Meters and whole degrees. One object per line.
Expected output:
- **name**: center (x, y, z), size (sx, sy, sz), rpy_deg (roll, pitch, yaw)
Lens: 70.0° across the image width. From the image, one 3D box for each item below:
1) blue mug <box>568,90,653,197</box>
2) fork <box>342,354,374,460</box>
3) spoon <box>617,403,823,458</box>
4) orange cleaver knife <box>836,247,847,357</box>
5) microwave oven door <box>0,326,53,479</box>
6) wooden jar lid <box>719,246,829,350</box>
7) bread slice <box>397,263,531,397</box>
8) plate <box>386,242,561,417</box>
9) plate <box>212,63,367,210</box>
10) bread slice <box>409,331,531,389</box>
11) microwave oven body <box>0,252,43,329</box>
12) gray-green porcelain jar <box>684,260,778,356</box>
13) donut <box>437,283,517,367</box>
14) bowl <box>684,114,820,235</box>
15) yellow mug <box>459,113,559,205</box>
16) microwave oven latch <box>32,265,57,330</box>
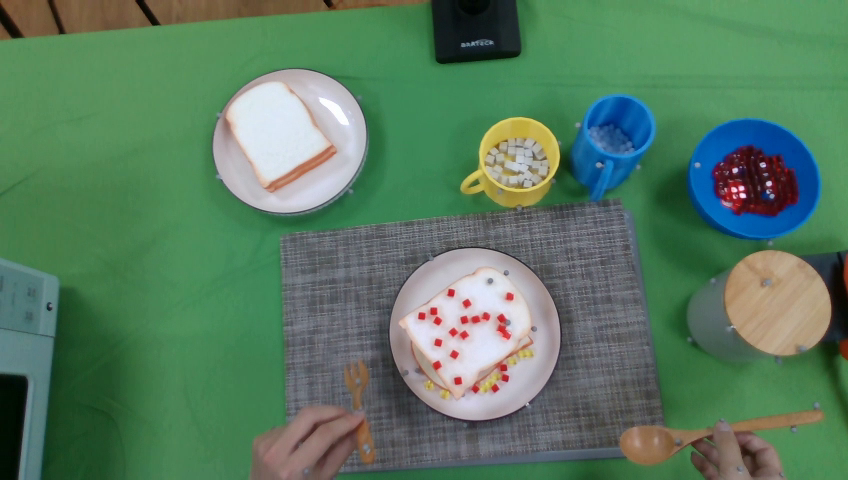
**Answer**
- **blue mug**: center (0.224, -0.109, 0.749), size (0.082, 0.106, 0.116), rpy_deg (15, 77, 8)
- **fork**: center (-0.066, 0.162, 0.610), size (0.028, 0.206, 0.019), rpy_deg (-27, 103, -4)
- **spoon**: center (0.292, 0.186, 0.605), size (0.193, 0.022, 0.041), rpy_deg (-17, 44, 18)
- **orange cleaver knife**: center (0.494, 0.115, 0.689), size (0.012, 0.077, 0.212), rpy_deg (-6, 102, 2)
- **microwave oven door**: center (-0.481, 0.258, 0.607), size (0.039, 0.245, 0.354), rpy_deg (-4, 75, 3)
- **wooden jar lid**: center (0.357, 0.060, 0.623), size (0.108, 0.021, 0.108), rpy_deg (0, 78, 1)
- **bread slice**: center (0.051, 0.090, 0.679), size (0.134, 0.018, 0.106), rpy_deg (-39, 82, -12)
- **plate**: center (0.059, 0.107, 0.735), size (0.209, 0.038, 0.208), rpy_deg (-1, 76, 3)
- **plate**: center (-0.177, -0.136, 0.813), size (0.207, 0.039, 0.206), rpy_deg (-1, 76, 3)
- **bread slice**: center (0.050, 0.117, 0.736), size (0.131, 0.019, 0.104), rpy_deg (-37, 75, -8)
- **microwave oven body**: center (-0.628, 0.227, 0.628), size (0.326, 0.261, 0.439), rpy_deg (-3, 76, 2)
- **gray-green porcelain jar**: center (0.362, 0.076, 0.684), size (0.106, 0.127, 0.105), rpy_deg (-1, 76, 3)
- **donut**: center (0.063, 0.100, 0.708), size (0.099, 0.048, 0.098), rpy_deg (4, 73, -14)
- **bowl**: center (0.387, -0.070, 0.743), size (0.151, 0.077, 0.150), rpy_deg (-1, 76, 3)
- **yellow mug**: center (0.104, -0.096, 0.773), size (0.131, 0.064, 0.099), rpy_deg (-26, 75, -2)
- **microwave oven latch**: center (-0.483, 0.072, 0.758), size (0.030, 0.029, 0.079), rpy_deg (-1, 76, 3)
